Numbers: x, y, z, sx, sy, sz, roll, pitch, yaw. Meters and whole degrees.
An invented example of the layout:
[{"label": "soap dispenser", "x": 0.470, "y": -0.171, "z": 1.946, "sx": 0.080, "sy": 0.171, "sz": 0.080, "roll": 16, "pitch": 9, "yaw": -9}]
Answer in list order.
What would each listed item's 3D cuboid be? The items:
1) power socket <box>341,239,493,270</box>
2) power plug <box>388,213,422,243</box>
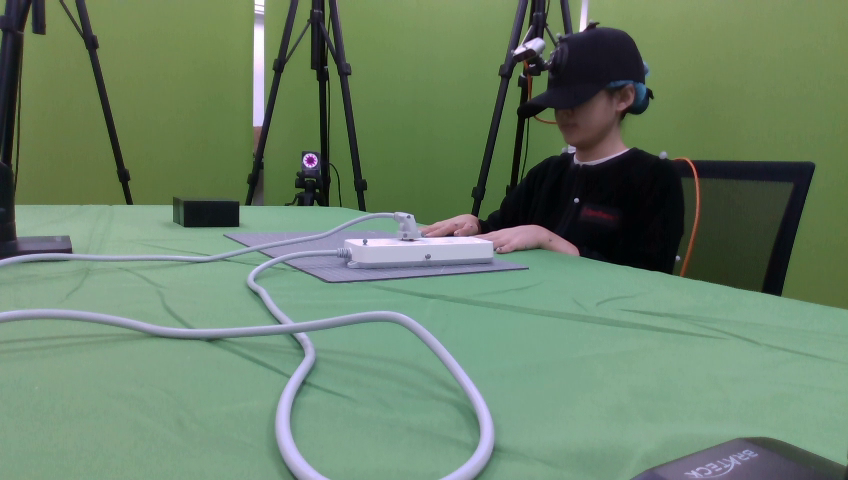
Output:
[{"label": "power socket", "x": -0.006, "y": 0.018, "z": 0.831, "sx": 0.228, "sy": 0.032, "sz": 0.072, "roll": -1, "pitch": 7, "yaw": -28}, {"label": "power plug", "x": -0.027, "y": -0.009, "z": 0.848, "sx": 0.035, "sy": 0.052, "sz": 0.072, "roll": 1, "pitch": 8, "yaw": -18}]
